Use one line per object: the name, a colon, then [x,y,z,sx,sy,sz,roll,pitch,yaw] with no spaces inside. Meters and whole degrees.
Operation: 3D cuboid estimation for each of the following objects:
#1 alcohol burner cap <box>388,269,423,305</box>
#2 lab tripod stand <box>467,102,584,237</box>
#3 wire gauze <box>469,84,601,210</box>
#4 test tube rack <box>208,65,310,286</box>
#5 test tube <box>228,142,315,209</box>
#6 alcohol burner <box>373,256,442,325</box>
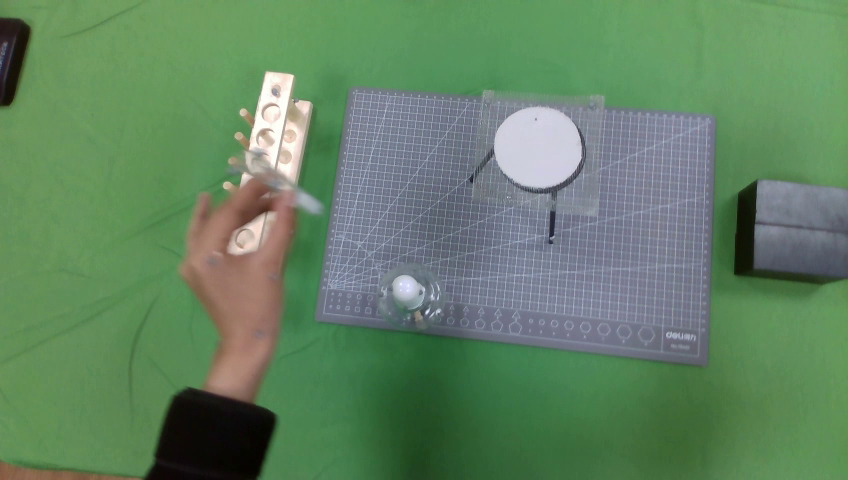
alcohol burner cap: [-0.021,0.046,0.622,0.034,0.048,0.033,-2,74,8]
lab tripod stand: [0.119,-0.087,0.663,0.148,0.132,0.147,-1,77,4]
wire gauze: [0.110,-0.095,0.598,0.125,0.011,0.121,7,80,5]
test tube rack: [-0.198,-0.074,0.708,0.066,0.085,0.241,8,80,5]
test tube: [-0.118,-0.048,0.492,0.017,0.151,0.017,-1,80,9]
alcohol burner: [-0.019,0.053,0.657,0.078,0.119,0.077,0,79,2]
